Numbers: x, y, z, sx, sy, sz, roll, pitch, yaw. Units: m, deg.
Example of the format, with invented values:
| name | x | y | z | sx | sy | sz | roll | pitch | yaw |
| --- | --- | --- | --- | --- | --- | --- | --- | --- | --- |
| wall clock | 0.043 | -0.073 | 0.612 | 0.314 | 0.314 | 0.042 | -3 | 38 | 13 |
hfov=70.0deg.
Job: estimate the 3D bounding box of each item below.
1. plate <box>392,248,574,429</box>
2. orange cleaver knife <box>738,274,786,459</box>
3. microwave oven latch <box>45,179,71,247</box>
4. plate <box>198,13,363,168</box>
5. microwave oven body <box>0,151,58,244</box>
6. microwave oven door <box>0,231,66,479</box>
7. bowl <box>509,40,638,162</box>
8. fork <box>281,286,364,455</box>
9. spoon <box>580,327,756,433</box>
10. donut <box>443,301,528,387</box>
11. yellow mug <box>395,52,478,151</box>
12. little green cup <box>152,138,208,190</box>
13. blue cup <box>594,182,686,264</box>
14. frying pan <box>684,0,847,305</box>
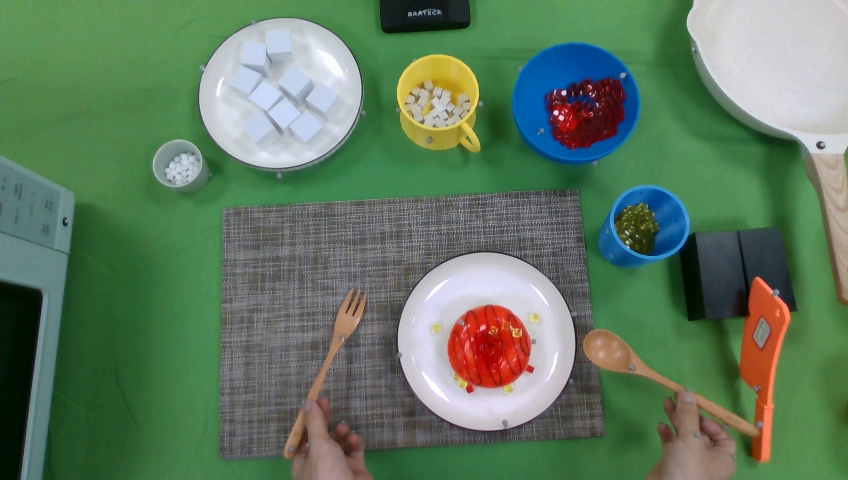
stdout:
| name | x | y | z | sx | sy | sz | roll | pitch | yaw |
| --- | --- | --- | --- | --- | --- | --- | --- | --- | --- |
| plate | 0.069 | 0.114 | 0.711 | 0.209 | 0.038 | 0.208 | 0 | 79 | 1 |
| orange cleaver knife | 0.375 | 0.144 | 0.684 | 0.012 | 0.077 | 0.212 | -4 | 107 | 0 |
| microwave oven latch | -0.448 | -0.032 | 0.730 | 0.030 | 0.029 | 0.079 | 2 | 79 | 1 |
| plate | -0.180 | -0.189 | 0.778 | 0.208 | 0.039 | 0.206 | 0 | 79 | 1 |
| microwave oven body | -0.598 | 0.121 | 0.602 | 0.326 | 0.261 | 0.439 | 0 | 79 | 0 |
| microwave oven door | -0.452 | 0.162 | 0.588 | 0.039 | 0.245 | 0.354 | 0 | 78 | 1 |
| bowl | 0.177 | -0.159 | 0.749 | 0.151 | 0.077 | 0.150 | 0 | 79 | 1 |
| fork | -0.115 | 0.144 | 0.693 | 0.028 | 0.019 | 0.206 | 23 | 60 | -2 |
| spoon | 0.257 | 0.151 | 0.648 | 0.192 | 0.022 | 0.041 | 29 | 77 | 25 |
| donut | 0.070 | 0.120 | 0.698 | 0.099 | 0.048 | 0.098 | 0 | 82 | 2 |
| yellow mug | 0.025 | -0.163 | 0.757 | 0.100 | 0.064 | 0.130 | -40 | 82 | -7 |
| little green cup | -0.303 | -0.092 | 0.758 | 0.061 | 0.039 | 0.061 | 0 | 79 | 0 |
| blue cup | 0.242 | -0.011 | 0.706 | 0.092 | 0.100 | 0.092 | 0 | 77 | 0 |
| frying pan | 0.468 | -0.161 | 0.732 | 0.307 | 0.103 | 0.484 | 2 | 71 | 2 |
